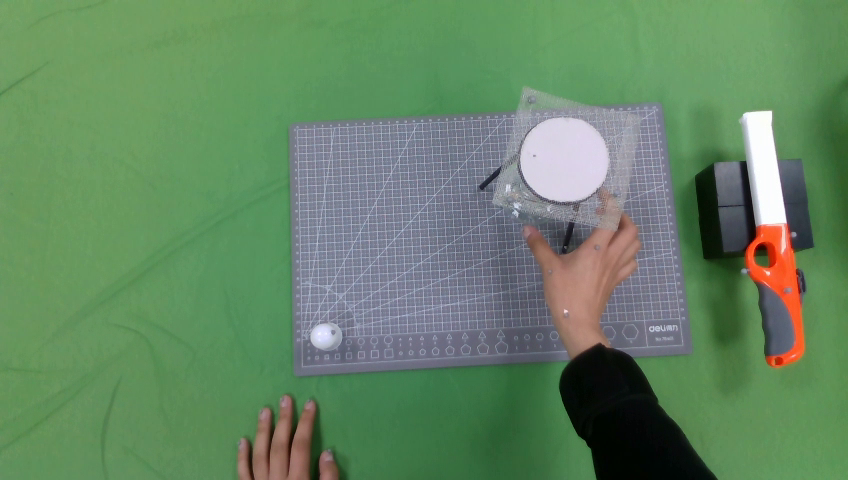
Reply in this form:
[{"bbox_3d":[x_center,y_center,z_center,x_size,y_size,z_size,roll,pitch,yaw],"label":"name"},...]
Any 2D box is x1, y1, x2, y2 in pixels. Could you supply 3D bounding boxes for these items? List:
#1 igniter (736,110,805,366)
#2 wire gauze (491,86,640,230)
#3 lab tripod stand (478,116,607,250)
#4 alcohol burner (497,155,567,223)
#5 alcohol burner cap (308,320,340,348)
[{"bbox_3d":[0.369,-0.005,0.649,0.057,0.025,0.275,-3,80,6],"label":"igniter"},{"bbox_3d":[0.138,-0.080,0.584,0.121,0.011,0.124,15,80,2],"label":"wire gauze"},{"bbox_3d":[0.135,-0.070,0.650,0.148,0.132,0.147,0,78,1],"label":"lab tripod stand"},{"bbox_3d":[0.120,-0.059,0.658,0.078,0.119,0.077,0,82,0],"label":"alcohol burner"},{"bbox_3d":[-0.112,0.103,0.668,0.034,0.048,0.033,0,80,-1],"label":"alcohol burner cap"}]
